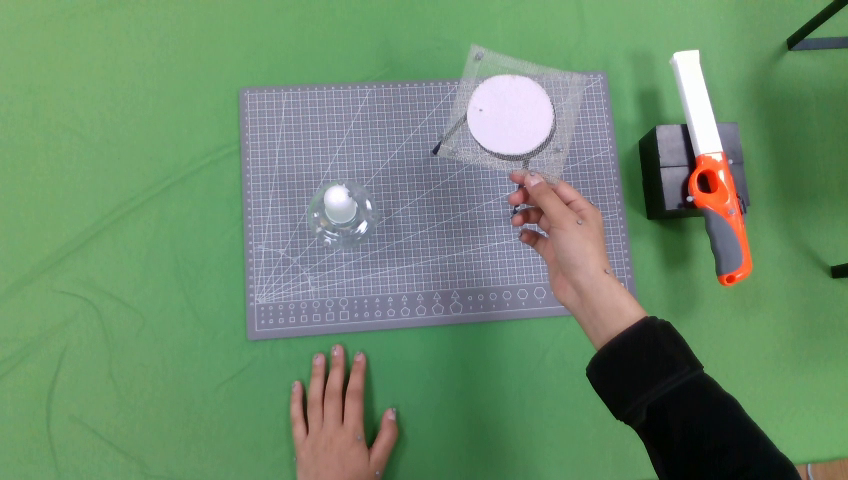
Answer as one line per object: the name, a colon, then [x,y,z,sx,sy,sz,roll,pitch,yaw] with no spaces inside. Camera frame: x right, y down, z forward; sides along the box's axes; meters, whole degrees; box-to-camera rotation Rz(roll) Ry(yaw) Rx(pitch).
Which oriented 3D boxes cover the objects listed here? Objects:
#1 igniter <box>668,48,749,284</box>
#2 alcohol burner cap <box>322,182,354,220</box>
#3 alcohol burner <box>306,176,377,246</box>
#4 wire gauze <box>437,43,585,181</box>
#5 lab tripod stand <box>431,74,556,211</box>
igniter: [0.321,-0.087,0.686,0.057,0.025,0.275,-7,79,-3]
alcohol burner cap: [-0.089,-0.042,0.615,0.034,0.048,0.033,1,73,-4]
alcohol burner: [-0.090,-0.034,0.650,0.078,0.119,0.077,1,82,-3]
wire gauze: [0.087,-0.126,0.595,0.121,0.011,0.124,17,76,2]
lab tripod stand: [0.085,-0.116,0.666,0.148,0.132,0.147,1,78,-3]
